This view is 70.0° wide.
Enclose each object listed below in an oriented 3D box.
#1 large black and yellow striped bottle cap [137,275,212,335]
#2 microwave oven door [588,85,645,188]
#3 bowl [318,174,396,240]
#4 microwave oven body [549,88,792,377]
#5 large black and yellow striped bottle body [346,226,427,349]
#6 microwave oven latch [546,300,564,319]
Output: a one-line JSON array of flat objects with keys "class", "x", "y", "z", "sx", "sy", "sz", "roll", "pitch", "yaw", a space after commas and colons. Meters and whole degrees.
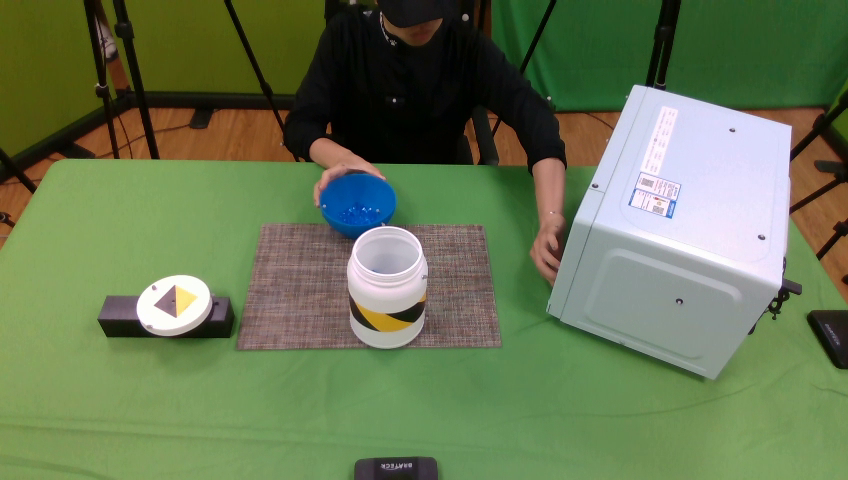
[{"class": "large black and yellow striped bottle cap", "x": -0.411, "y": 0.105, "z": 0.999, "sx": 0.115, "sy": 0.019, "sz": 0.114, "roll": 3, "pitch": 46, "yaw": -3}, {"class": "microwave oven door", "x": 0.342, "y": -0.107, "z": 1.149, "sx": 0.039, "sy": 0.245, "sz": 0.354, "roll": 20, "pitch": 48, "yaw": 15}, {"class": "bowl", "x": -0.131, "y": -0.053, "z": 1.195, "sx": 0.151, "sy": 0.077, "sz": 0.150, "roll": 2, "pitch": 46, "yaw": -2}, {"class": "microwave oven body", "x": 0.456, "y": -0.028, "z": 1.088, "sx": 0.325, "sy": 0.261, "sz": 0.440, "roll": 20, "pitch": 47, "yaw": 16}, {"class": "large black and yellow striped bottle body", "x": -0.062, "y": 0.079, "z": 0.998, "sx": 0.131, "sy": 0.185, "sz": 0.130, "roll": 2, "pitch": 46, "yaw": -2}, {"class": "microwave oven latch", "x": 0.243, "y": 0.103, "z": 1.080, "sx": 0.030, "sy": 0.029, "sz": 0.079, "roll": 24, "pitch": 48, "yaw": 19}]
